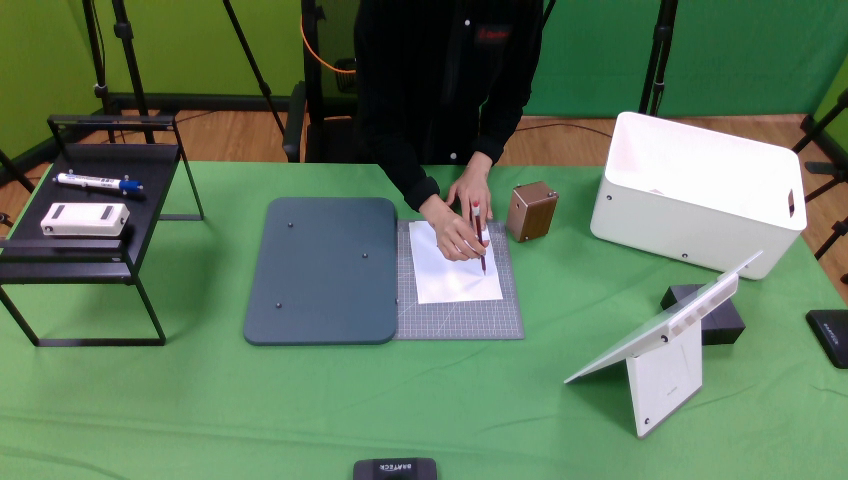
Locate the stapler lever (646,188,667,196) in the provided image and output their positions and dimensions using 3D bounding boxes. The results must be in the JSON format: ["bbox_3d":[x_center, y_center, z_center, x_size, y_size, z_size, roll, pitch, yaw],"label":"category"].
[{"bbox_3d":[0.507,-0.075,1.262,0.027,0.040,0.117,-14,46,-19],"label":"stapler lever"}]

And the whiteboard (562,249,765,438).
[{"bbox_3d":[0.386,0.175,0.905,0.217,0.306,0.143,-26,72,-26],"label":"whiteboard"}]

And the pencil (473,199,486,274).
[{"bbox_3d":[0.101,-0.001,1.076,0.012,0.195,0.012,-6,46,6],"label":"pencil"}]

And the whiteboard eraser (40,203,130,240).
[{"bbox_3d":[-0.513,-0.028,0.922,0.113,0.042,0.055,1,48,-3],"label":"whiteboard eraser"}]

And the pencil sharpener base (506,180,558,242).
[{"bbox_3d":[0.216,-0.058,1.211,0.077,0.107,0.061,-16,49,-19],"label":"pencil sharpener base"}]

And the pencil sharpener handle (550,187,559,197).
[{"bbox_3d":[0.261,-0.084,1.221,0.031,0.068,0.036,-16,65,-19],"label":"pencil sharpener handle"}]

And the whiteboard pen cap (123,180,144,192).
[{"bbox_3d":[-0.479,-0.089,0.993,0.033,0.018,0.018,7,46,14],"label":"whiteboard pen cap"}]

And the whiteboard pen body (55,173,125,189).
[{"bbox_3d":[-0.539,-0.095,0.998,0.141,0.017,0.017,6,46,6],"label":"whiteboard pen body"}]

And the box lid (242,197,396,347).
[{"bbox_3d":[-0.186,0.046,1.147,0.263,0.015,0.369,0,46,-3],"label":"box lid"}]

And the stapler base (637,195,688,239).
[{"bbox_3d":[0.507,-0.055,1.280,0.041,0.024,0.129,-14,47,-19],"label":"stapler base"}]

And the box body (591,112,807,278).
[{"bbox_3d":[0.540,-0.092,1.229,0.363,0.161,0.253,16,47,11],"label":"box body"}]
